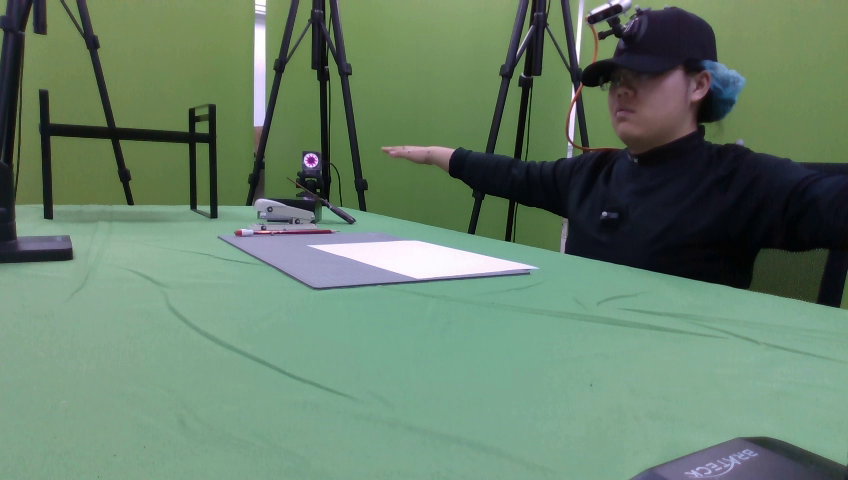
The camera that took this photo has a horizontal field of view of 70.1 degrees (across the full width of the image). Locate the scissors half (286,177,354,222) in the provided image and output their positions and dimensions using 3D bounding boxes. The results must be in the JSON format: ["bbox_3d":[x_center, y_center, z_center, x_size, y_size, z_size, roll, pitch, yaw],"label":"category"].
[{"bbox_3d":[-0.230,-0.091,1.337,0.175,0.013,0.040,32,16,-13],"label":"scissors half"}]

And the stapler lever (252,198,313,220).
[{"bbox_3d":[-0.273,-0.059,1.170,0.119,0.040,0.026,0,10,-37],"label":"stapler lever"}]

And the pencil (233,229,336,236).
[{"bbox_3d":[-0.240,-0.014,1.066,0.195,0.012,0.012,-1,8,-37],"label":"pencil"}]

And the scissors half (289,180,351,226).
[{"bbox_3d":[-0.233,-0.085,1.318,0.175,0.013,0.040,38,21,4],"label":"scissors half"}]

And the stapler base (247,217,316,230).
[{"bbox_3d":[-0.276,-0.033,1.172,0.131,0.024,0.041,0,10,-37],"label":"stapler base"}]
